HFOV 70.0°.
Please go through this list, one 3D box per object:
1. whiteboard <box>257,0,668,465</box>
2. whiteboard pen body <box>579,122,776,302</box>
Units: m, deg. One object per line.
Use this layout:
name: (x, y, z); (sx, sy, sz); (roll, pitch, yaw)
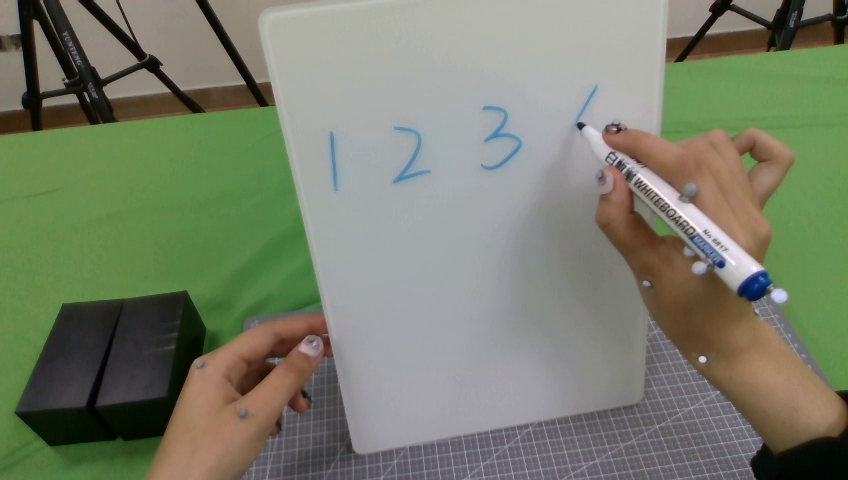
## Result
whiteboard: (0.032, -0.022, 0.434); (0.217, 0.308, 0.142); (-9, 26, -3)
whiteboard pen body: (0.117, -0.022, 0.303); (0.017, 0.017, 0.139); (-19, 47, -14)
